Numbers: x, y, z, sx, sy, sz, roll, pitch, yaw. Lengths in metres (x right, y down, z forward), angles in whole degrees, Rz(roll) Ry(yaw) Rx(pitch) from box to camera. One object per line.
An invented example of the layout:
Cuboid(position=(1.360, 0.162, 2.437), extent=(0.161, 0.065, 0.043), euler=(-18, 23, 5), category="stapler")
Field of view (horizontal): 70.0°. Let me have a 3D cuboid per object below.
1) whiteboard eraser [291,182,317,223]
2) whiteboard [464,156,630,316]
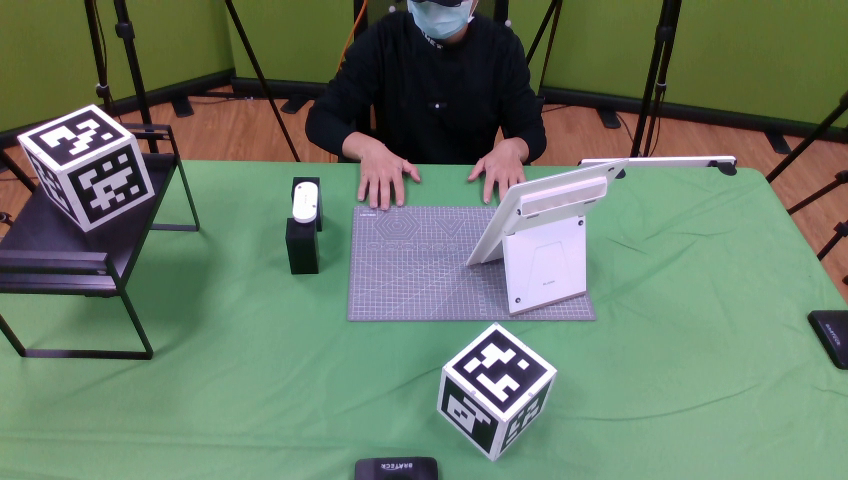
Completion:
Cuboid(position=(-0.219, -0.070, 1.111), extent=(0.041, 0.019, 0.100), euler=(-2, 45, -3), category="whiteboard eraser")
Cuboid(position=(0.224, 0.014, 1.041), extent=(0.217, 0.306, 0.143), euler=(-14, 68, -17), category="whiteboard")
